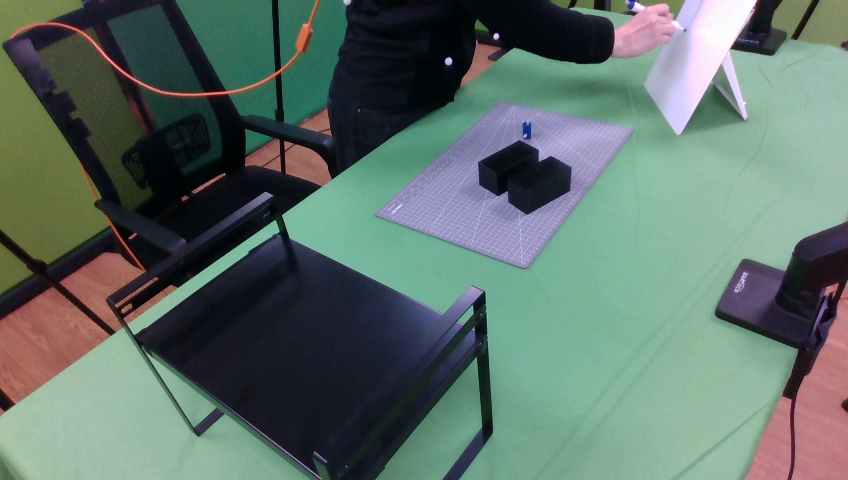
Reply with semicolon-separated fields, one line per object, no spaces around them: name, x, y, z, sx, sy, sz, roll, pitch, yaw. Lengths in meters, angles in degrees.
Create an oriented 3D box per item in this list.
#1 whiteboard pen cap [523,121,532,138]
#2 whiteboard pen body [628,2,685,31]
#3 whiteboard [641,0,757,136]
whiteboard pen cap;0.204;-0.216;1.185;0.018;0.033;0.018;-7;41;6
whiteboard pen body;0.445;-0.422;1.150;0.142;0.017;0.017;13;35;-22
whiteboard;0.576;-0.367;1.147;0.144;0.306;0.216;9;39;-9
